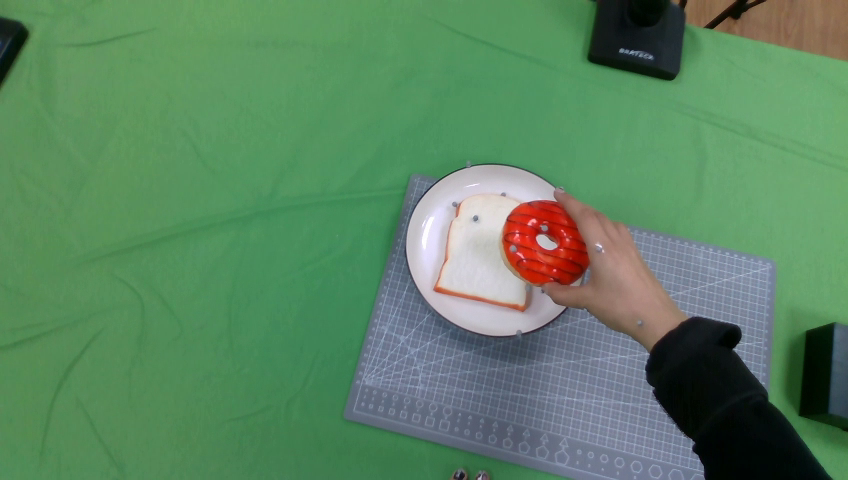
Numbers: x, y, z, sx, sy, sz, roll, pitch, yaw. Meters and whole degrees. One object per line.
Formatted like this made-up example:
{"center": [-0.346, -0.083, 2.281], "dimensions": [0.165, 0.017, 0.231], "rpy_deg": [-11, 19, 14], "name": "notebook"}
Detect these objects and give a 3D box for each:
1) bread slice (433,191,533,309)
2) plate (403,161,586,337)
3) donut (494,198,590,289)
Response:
{"center": [0.073, 0.005, 0.697], "dimensions": [0.105, 0.019, 0.131], "rpy_deg": [12, 72, 0], "name": "bread slice"}
{"center": [0.079, 0.011, 0.694], "dimensions": [0.209, 0.038, 0.208], "rpy_deg": [1, 72, -3], "name": "plate"}
{"center": [0.121, 0.003, 0.619], "dimensions": [0.099, 0.048, 0.098], "rpy_deg": [3, 68, -6], "name": "donut"}
